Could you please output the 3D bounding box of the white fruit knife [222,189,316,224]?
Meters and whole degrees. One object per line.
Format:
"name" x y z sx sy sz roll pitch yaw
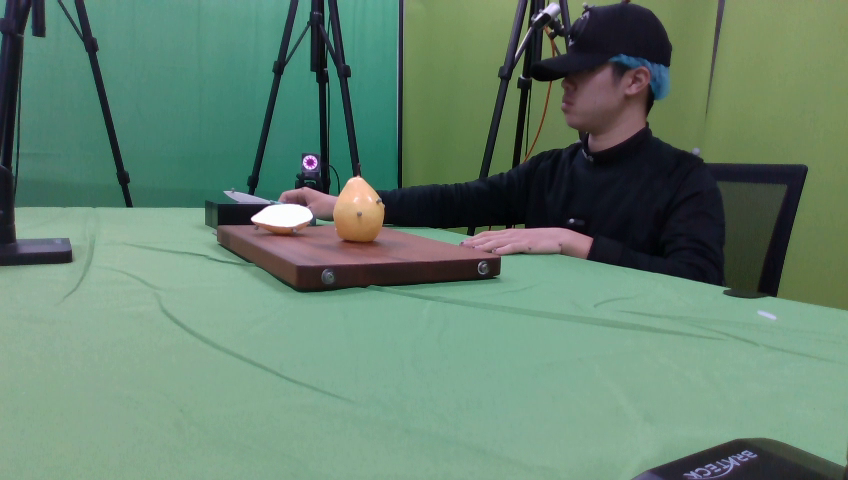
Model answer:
"white fruit knife" -0.311 -0.071 1.236 0.208 0.027 0.016 17 6 -37

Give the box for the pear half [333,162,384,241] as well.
"pear half" -0.085 -0.053 0.842 0.056 0.110 0.076 6 12 28

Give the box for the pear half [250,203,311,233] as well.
"pear half" -0.212 -0.027 0.899 0.088 0.031 0.070 -16 31 -25
